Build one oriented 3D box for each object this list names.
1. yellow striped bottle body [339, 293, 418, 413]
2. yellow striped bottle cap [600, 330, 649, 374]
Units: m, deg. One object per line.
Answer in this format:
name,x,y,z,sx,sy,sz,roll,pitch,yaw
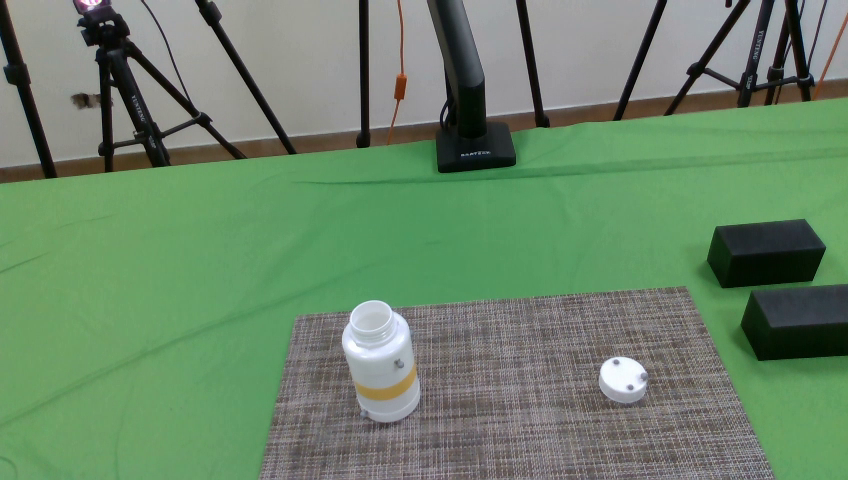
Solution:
yellow striped bottle body,-0.043,0.104,0.572,0.063,0.121,0.062,-4,41,4
yellow striped bottle cap,0.191,0.107,0.580,0.044,0.019,0.044,-7,32,5
